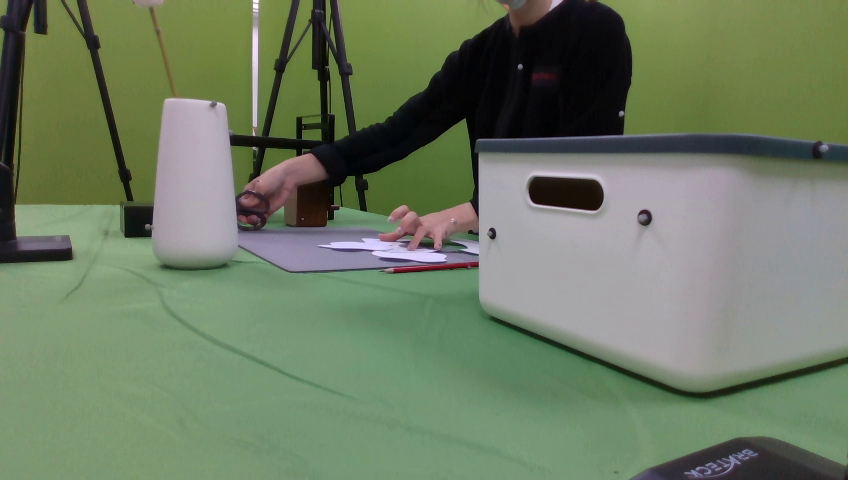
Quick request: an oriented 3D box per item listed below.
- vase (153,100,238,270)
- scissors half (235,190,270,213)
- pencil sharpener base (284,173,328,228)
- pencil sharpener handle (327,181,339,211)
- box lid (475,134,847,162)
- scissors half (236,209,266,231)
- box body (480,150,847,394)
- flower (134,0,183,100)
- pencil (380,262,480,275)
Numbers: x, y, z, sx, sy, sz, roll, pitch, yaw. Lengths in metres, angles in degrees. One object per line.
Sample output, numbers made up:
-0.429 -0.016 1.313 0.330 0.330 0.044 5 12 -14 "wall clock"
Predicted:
-0.278 -0.066 0.736 0.098 0.200 0.098 2 9 0 "vase"
-0.360 -0.071 1.060 0.176 0.040 0.013 1 13 -21 "scissors half"
-0.239 -0.081 1.231 0.077 0.107 0.061 -2 8 -36 "pencil sharpener base"
-0.194 -0.094 1.257 0.031 0.067 0.036 -2 -6 -36 "pencil sharpener handle"
0.256 -0.073 0.528 0.373 0.015 0.262 -2 8 -31 "box lid"
-0.366 -0.052 1.064 0.176 0.040 0.012 20 11 -25 "scissors half"
0.254 0.002 0.539 0.366 0.160 0.253 -2 8 -31 "box body"
-0.282 -0.147 0.713 0.038 0.362 0.044 -23 24 -31 "flower"
0.030 0.036 0.794 0.195 0.012 0.012 -3 9 -30 "pencil"
